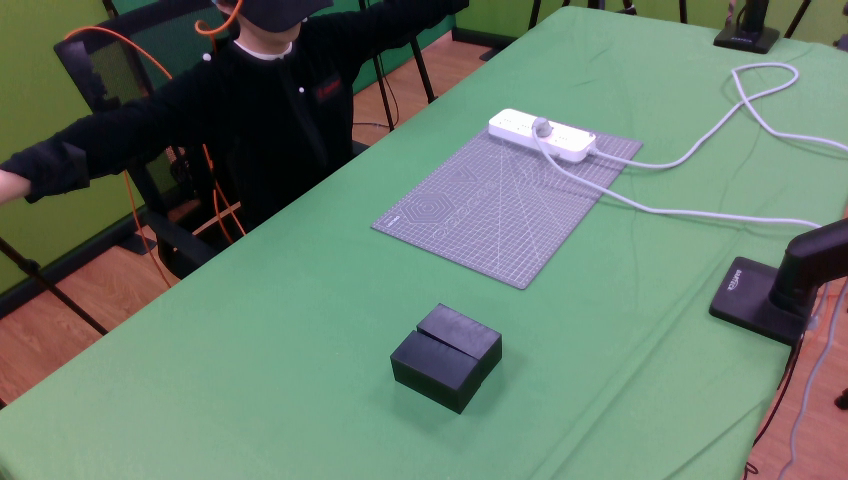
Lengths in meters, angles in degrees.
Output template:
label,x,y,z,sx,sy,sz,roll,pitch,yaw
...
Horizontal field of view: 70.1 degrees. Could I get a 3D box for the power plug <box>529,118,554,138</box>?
label,x,y,z,sx,sy,sz,roll,pitch,yaw
power plug,0.212,-0.200,1.131,0.073,0.053,0.035,-30,44,-26

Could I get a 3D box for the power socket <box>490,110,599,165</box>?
label,x,y,z,sx,sy,sz,roll,pitch,yaw
power socket,0.226,-0.201,1.167,0.225,0.033,0.072,27,53,33
